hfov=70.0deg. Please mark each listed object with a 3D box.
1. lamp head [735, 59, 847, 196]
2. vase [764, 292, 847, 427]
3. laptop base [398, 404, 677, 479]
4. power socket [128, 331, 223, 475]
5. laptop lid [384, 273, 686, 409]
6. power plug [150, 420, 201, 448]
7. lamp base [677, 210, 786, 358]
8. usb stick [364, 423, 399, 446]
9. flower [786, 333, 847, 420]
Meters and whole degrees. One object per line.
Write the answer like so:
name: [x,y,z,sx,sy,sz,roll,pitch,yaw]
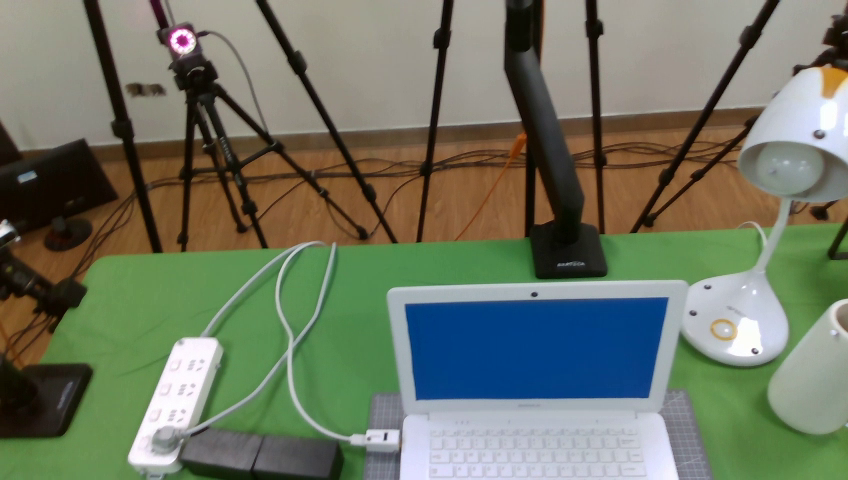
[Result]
lamp head: [0.399,-0.121,0.628,0.111,0.113,0.122,22,70,24]
vase: [0.503,0.151,0.761,0.098,0.202,0.097,-4,45,4]
laptop base: [0.141,0.319,0.762,0.354,0.023,0.233,-2,50,4]
power socket: [-0.359,0.228,0.889,0.072,0.033,0.224,1,46,5]
laptop lid: [0.135,0.138,0.772,0.356,0.244,0.013,-3,36,4]
power plug: [-0.336,0.268,0.821,0.072,0.053,0.035,9,48,11]
lamp base: [0.463,0.050,0.874,0.159,0.182,0.179,25,51,26]
usb stick: [-0.050,0.263,0.817,0.059,0.027,0.021,3,45,2]
flower: [0.513,0.088,0.706,0.038,0.364,0.043,-1,35,-18]
